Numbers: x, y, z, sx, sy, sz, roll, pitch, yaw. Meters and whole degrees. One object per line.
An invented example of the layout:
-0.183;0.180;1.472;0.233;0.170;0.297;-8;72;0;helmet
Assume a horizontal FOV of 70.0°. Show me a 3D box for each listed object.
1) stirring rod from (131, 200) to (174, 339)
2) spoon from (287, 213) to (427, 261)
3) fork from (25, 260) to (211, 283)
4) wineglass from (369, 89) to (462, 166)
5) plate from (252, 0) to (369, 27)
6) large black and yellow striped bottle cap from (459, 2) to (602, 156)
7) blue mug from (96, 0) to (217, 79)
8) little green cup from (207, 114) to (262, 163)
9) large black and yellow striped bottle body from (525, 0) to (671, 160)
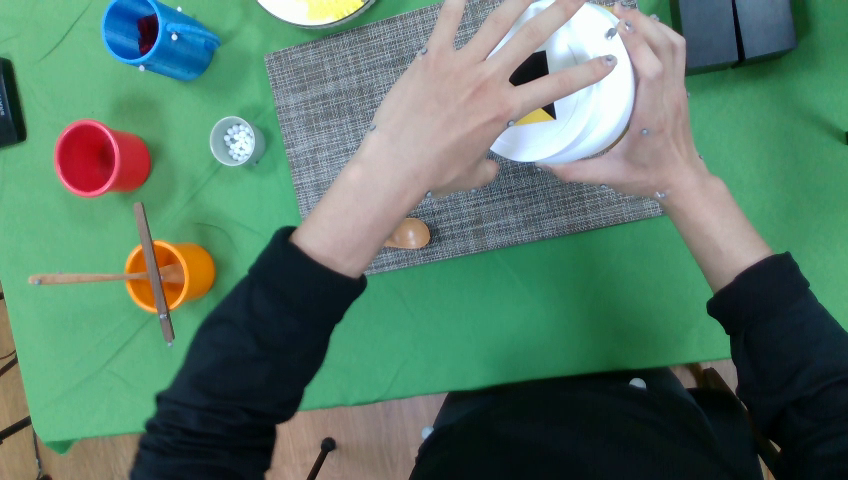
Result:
-0.336;0.037;0.749;0.014;0.006;0.176;-12;92;13;stirring rod
-0.088;0.002;0.758;0.193;0.021;0.042;-13;113;13;spoon
-0.377;0.042;0.761;0.208;0.018;0.028;-2;102;-32;fork
-0.004;-0.116;0.653;0.073;0.172;0.074;1;94;12;wineglass
-0.132;-0.361;0.731;0.208;0.038;0.209;1;96;11;plate
0.078;-0.122;0.465;0.114;0.019;0.115;13;113;35;large black and yellow striped bottle cap
-0.316;-0.250;0.744;0.116;0.106;0.082;2;95;11;blue mug
-0.240;-0.127;0.774;0.061;0.038;0.061;1;96;13;little green cup
0.128;-0.142;0.530;0.130;0.184;0.131;12;111;34;large black and yellow striped bottle body
